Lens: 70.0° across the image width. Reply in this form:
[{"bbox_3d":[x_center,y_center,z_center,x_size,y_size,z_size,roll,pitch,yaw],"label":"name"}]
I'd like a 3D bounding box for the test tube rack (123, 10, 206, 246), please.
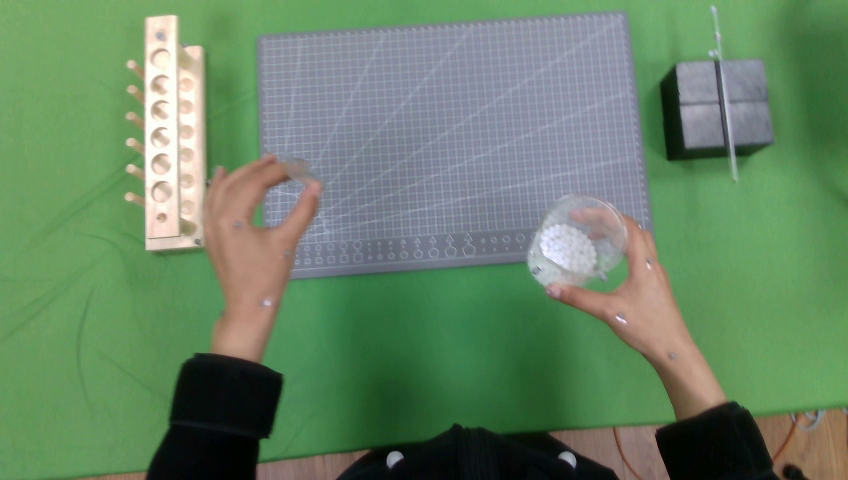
[{"bbox_3d":[-0.293,-0.120,0.674,0.067,0.085,0.241,-4,82,0],"label":"test tube rack"}]

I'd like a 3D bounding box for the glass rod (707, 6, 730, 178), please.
[{"bbox_3d":[0.327,-0.166,0.672,0.008,0.008,0.199,-2,83,0],"label":"glass rod"}]

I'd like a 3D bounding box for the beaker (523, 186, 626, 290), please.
[{"bbox_3d":[0.129,0.005,0.553,0.084,0.101,0.073,-22,75,-4],"label":"beaker"}]

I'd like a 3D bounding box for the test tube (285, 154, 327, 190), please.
[{"bbox_3d":[-0.102,-0.058,0.535,0.017,0.150,0.017,0,90,-3],"label":"test tube"}]
